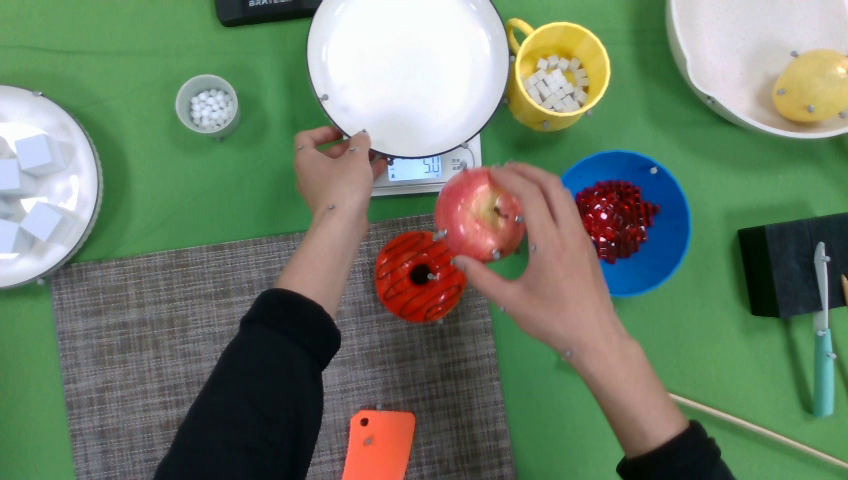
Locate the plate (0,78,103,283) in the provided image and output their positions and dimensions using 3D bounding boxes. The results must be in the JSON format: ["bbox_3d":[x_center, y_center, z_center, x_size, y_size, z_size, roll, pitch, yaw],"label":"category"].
[{"bbox_3d":[-0.431,-0.059,0.614,0.208,0.039,0.207,0,87,-5],"label":"plate"}]

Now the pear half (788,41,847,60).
[{"bbox_3d":[0.437,-0.198,0.665,0.070,0.088,0.031,26,87,0],"label":"pear half"}]

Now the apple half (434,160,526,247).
[{"bbox_3d":[0.053,-0.037,0.515,0.081,0.074,0.053,38,82,-7],"label":"apple half"}]

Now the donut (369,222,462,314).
[{"bbox_3d":[-0.009,0.029,0.640,0.099,0.048,0.099,0,90,-4],"label":"donut"}]

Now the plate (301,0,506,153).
[{"bbox_3d":[-0.021,-0.191,0.626,0.209,0.038,0.208,0,87,-5],"label":"plate"}]

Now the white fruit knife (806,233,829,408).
[{"bbox_3d":[0.427,0.093,0.660,0.016,0.027,0.208,-11,103,-5],"label":"white fruit knife"}]

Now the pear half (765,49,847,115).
[{"bbox_3d":[0.419,-0.169,0.653,0.076,0.110,0.056,28,86,1],"label":"pear half"}]

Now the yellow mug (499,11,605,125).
[{"bbox_3d":[0.126,-0.193,0.655,0.100,0.064,0.131,-41,90,-5],"label":"yellow mug"}]

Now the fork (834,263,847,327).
[{"bbox_3d":[0.481,0.123,0.671,0.028,0.018,0.208,-19,104,-8],"label":"fork"}]

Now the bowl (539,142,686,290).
[{"bbox_3d":[0.189,-0.022,0.646,0.151,0.077,0.151,0,88,-5],"label":"bowl"}]

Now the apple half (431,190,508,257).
[{"bbox_3d":[0.030,-0.006,0.512,0.081,0.081,0.033,38,82,-2],"label":"apple half"}]

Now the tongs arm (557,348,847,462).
[{"bbox_3d":[0.326,0.194,0.670,0.388,0.028,0.028,22,78,-4],"label":"tongs arm"}]

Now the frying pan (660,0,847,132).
[{"bbox_3d":[0.457,-0.176,0.663,0.307,0.103,0.486,-35,83,-5],"label":"frying pan"}]

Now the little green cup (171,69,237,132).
[{"bbox_3d":[-0.227,-0.143,0.636,0.061,0.038,0.061,0,87,-4],"label":"little green cup"}]

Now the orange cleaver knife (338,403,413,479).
[{"bbox_3d":[-0.071,0.269,0.634,0.077,0.012,0.211,21,83,-10],"label":"orange cleaver knife"}]

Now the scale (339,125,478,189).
[{"bbox_3d":[-0.020,-0.159,0.658,0.149,0.031,0.200,-4,88,-5],"label":"scale"}]
